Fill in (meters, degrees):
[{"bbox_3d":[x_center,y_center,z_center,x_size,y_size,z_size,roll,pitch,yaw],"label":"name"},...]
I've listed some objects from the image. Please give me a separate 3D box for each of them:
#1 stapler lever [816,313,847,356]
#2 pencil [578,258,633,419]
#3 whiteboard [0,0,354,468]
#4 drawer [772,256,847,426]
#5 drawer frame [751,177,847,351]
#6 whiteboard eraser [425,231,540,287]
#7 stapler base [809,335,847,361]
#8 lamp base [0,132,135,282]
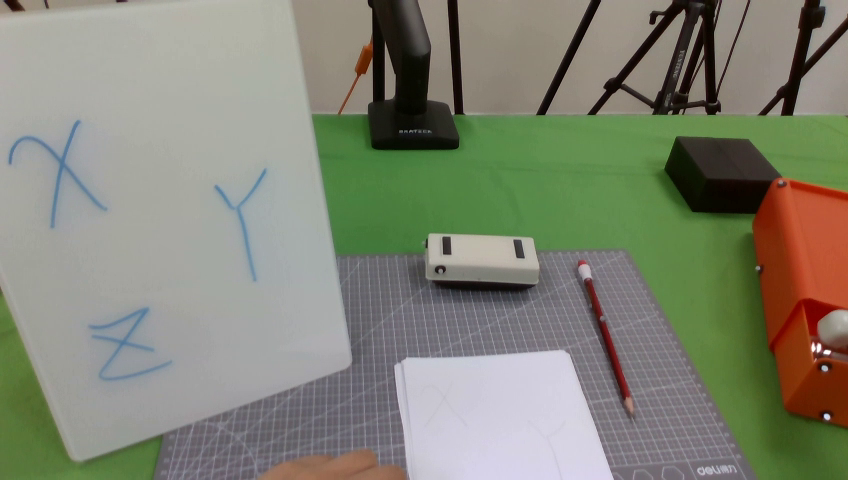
[{"bbox_3d":[0.385,0.088,0.495,0.118,0.040,0.026,12,60,11],"label":"stapler lever"},{"bbox_3d":[0.170,0.085,0.573,0.012,0.012,0.192,2,41,-4],"label":"pencil"},{"bbox_3d":[-0.198,-0.024,0.475,0.218,0.307,0.142,-15,24,-22],"label":"whiteboard"},{"bbox_3d":[0.429,0.083,0.554,0.194,0.074,0.210,13,39,11],"label":"drawer"},{"bbox_3d":[0.450,0.041,0.605,0.201,0.083,0.212,14,39,11],"label":"drawer frame"},{"bbox_3d":[0.058,0.020,0.611,0.113,0.042,0.055,3,40,-3],"label":"whiteboard eraser"},{"bbox_3d":[0.386,0.105,0.520,0.130,0.025,0.041,10,59,16],"label":"stapler base"},{"bbox_3d":[-0.386,-0.078,0.572,0.178,0.182,0.160,25,43,26],"label":"lamp base"}]
